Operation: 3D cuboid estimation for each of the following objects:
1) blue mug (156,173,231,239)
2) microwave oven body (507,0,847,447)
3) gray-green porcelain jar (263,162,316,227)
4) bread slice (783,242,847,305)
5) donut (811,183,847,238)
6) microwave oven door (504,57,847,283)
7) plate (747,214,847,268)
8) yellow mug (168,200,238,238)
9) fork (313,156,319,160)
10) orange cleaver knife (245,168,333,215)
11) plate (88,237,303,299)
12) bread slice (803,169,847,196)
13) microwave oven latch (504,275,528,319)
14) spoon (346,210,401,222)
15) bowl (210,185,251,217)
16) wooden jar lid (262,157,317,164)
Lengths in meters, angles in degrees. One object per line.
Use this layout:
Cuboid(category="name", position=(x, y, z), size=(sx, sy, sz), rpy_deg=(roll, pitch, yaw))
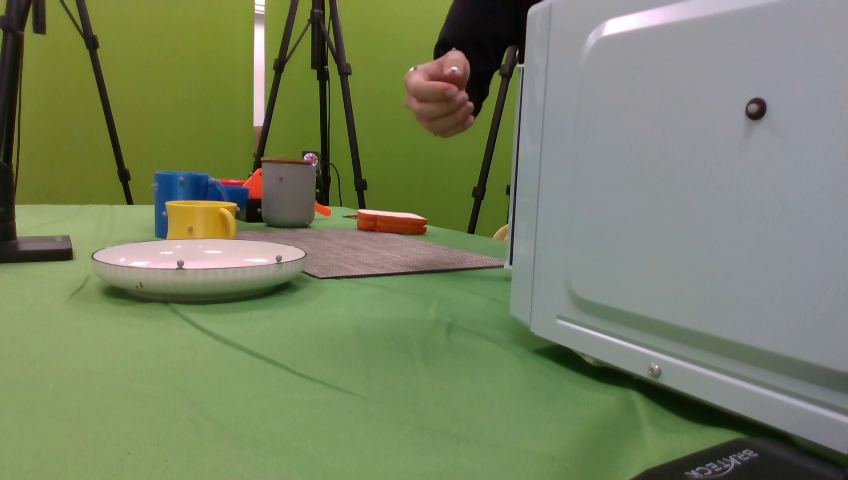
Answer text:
Cuboid(category="blue mug", position=(-0.381, -0.057, 1.004), size=(0.117, 0.106, 0.082), rpy_deg=(1, 8, -12))
Cuboid(category="microwave oven body", position=(0.331, -0.042, 0.425), size=(0.444, 0.260, 0.324), rpy_deg=(-2, 8, -31))
Cuboid(category="gray-green porcelain jar", position=(-0.271, -0.092, 1.218), size=(0.106, 0.126, 0.106), rpy_deg=(2, 7, 0))
Cuboid(category="bread slice", position=(0.370, 0.018, 0.471), size=(0.132, 0.019, 0.104), rpy_deg=(-22, 12, -14))
Cuboid(category="donut", position=(0.353, -0.027, 0.463), size=(0.099, 0.048, 0.099), rpy_deg=(-11, 3, 1))
Cuboid(category="microwave oven door", position=(0.276, -0.083, 0.693), size=(0.355, 0.243, 0.039), rpy_deg=(3, 8, 12))
Cuboid(category="plate", position=(0.362, 0.002, 0.462), size=(0.209, 0.038, 0.209), rpy_deg=(2, 4, 0))
Cuboid(category="yellow mug", position=(-0.319, -0.023, 0.904), size=(0.130, 0.064, 0.100), rpy_deg=(9, 11, 36))
Cuboid(category="fork", position=(-0.331, -0.144, 1.506), size=(0.207, 0.018, 0.028), rpy_deg=(-42, -18, 22))
Cuboid(category="orange cleaver knife", position=(-0.300, -0.089, 1.352), size=(0.212, 0.077, 0.012), rpy_deg=(28, -9, -34))
Cuboid(category="plate", position=(-0.233, 0.029, 0.636), size=(0.208, 0.039, 0.207), rpy_deg=(2, 7, 0))
Cuboid(category="bread slice", position=(0.363, -0.050, 0.453), size=(0.135, 0.018, 0.106), rpy_deg=(-8, 2, -22))
Cuboid(category="microwave oven latch", position=(0.100, 0.042, 0.469), size=(0.079, 0.029, 0.030), rpy_deg=(-1, 7, -25))
Cuboid(category="spoon", position=(-0.121, -0.060, 1.400), size=(0.042, 0.021, 0.192), rpy_deg=(-27, 24, -38))
Cuboid(category="bowl", position=(-0.408, -0.064, 1.155), size=(0.151, 0.077, 0.151), rpy_deg=(2, 8, 0))
Cuboid(category="wooden jar lid", position=(-0.269, -0.154, 1.209), size=(0.108, 0.020, 0.108), rpy_deg=(3, 4, 0))
